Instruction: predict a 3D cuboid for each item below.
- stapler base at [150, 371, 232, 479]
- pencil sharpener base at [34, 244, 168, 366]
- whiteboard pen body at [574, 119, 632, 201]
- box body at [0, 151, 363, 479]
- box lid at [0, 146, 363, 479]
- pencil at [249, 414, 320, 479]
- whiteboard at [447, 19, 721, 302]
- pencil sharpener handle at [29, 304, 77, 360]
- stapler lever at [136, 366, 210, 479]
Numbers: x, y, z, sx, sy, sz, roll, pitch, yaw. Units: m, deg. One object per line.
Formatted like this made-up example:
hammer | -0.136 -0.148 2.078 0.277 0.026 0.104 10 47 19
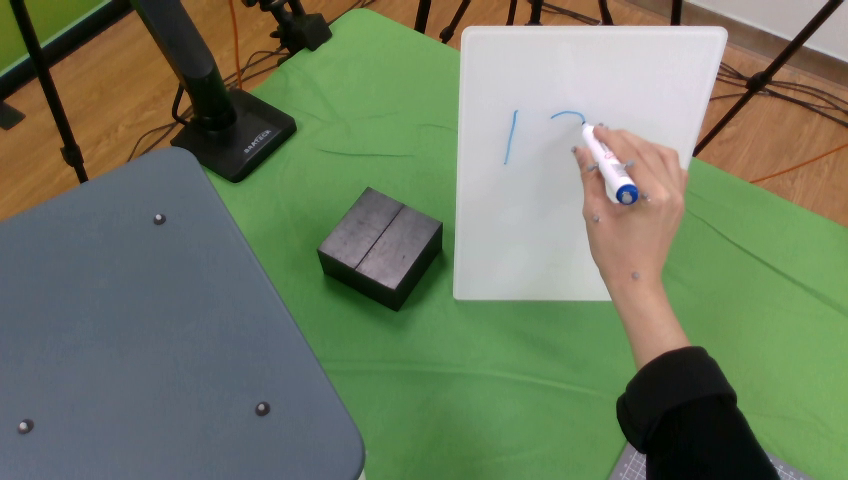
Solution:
stapler base | -0.225 0.183 0.574 0.041 0.025 0.129 3 60 24
pencil sharpener base | -0.317 0.068 0.599 0.076 0.108 0.061 -37 64 -20
whiteboard pen body | 0.137 -0.069 0.479 0.017 0.017 0.139 -2 33 -1
box body | -0.242 0.131 0.536 0.254 0.162 0.360 -30 63 -17
box lid | -0.243 0.091 0.474 0.263 0.015 0.368 -30 64 -17
pencil | -0.166 0.231 0.554 0.012 0.012 0.193 33 53 19
whiteboard | 0.135 -0.095 0.631 0.217 0.308 0.142 0 39 1
pencil sharpener handle | -0.356 0.091 0.572 0.030 0.068 0.035 -37 65 -20
stapler lever | -0.232 0.172 0.554 0.026 0.040 0.117 3 58 24
